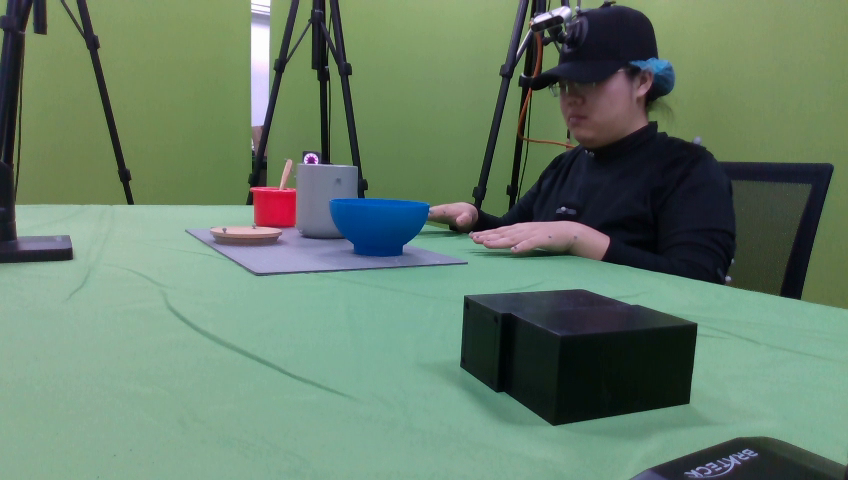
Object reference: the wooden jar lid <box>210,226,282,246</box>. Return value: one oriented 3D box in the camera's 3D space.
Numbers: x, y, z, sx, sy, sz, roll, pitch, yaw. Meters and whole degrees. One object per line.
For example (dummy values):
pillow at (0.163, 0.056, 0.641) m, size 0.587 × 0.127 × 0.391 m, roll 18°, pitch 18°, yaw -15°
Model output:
wooden jar lid at (-0.279, -0.007, 0.951) m, size 0.108 × 0.020 × 0.108 m, roll 2°, pitch 8°, yaw 0°

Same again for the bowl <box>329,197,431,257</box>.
bowl at (-0.067, -0.019, 0.895) m, size 0.151 × 0.077 × 0.151 m, roll 3°, pitch 7°, yaw 0°

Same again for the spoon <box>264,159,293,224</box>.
spoon at (-0.288, -0.102, 1.227) m, size 0.041 × 0.021 × 0.193 m, roll 1°, pitch 51°, yaw 3°

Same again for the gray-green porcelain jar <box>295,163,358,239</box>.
gray-green porcelain jar at (-0.170, -0.069, 1.054) m, size 0.106 × 0.126 × 0.106 m, roll 3°, pitch 7°, yaw 0°
